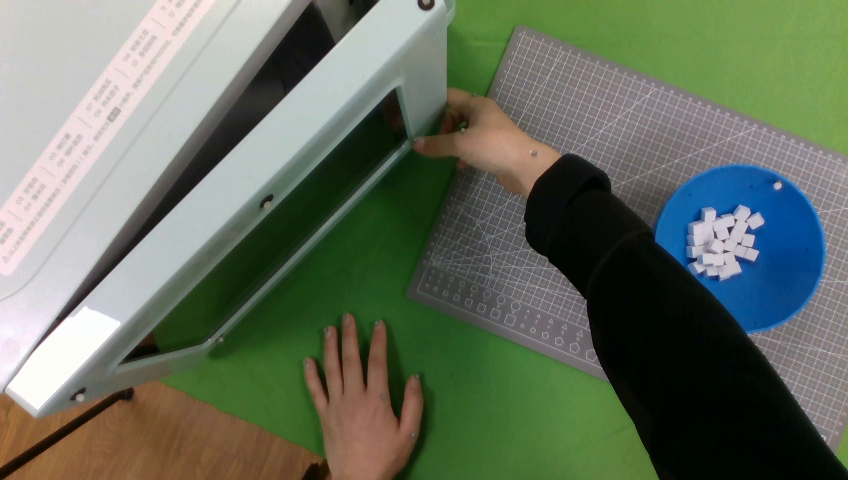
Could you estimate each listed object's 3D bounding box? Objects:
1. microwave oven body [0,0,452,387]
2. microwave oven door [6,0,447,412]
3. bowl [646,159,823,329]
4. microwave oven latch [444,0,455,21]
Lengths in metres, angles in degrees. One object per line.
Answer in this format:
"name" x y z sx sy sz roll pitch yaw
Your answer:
"microwave oven body" -0.229 -0.159 0.495 0.326 0.260 0.441 36 89 2
"microwave oven door" -0.118 -0.023 0.482 0.039 0.244 0.356 45 89 4
"bowl" 0.275 0.005 0.569 0.151 0.077 0.151 0 87 2
"microwave oven latch" -0.001 -0.210 0.588 0.030 0.029 0.079 39 90 2
